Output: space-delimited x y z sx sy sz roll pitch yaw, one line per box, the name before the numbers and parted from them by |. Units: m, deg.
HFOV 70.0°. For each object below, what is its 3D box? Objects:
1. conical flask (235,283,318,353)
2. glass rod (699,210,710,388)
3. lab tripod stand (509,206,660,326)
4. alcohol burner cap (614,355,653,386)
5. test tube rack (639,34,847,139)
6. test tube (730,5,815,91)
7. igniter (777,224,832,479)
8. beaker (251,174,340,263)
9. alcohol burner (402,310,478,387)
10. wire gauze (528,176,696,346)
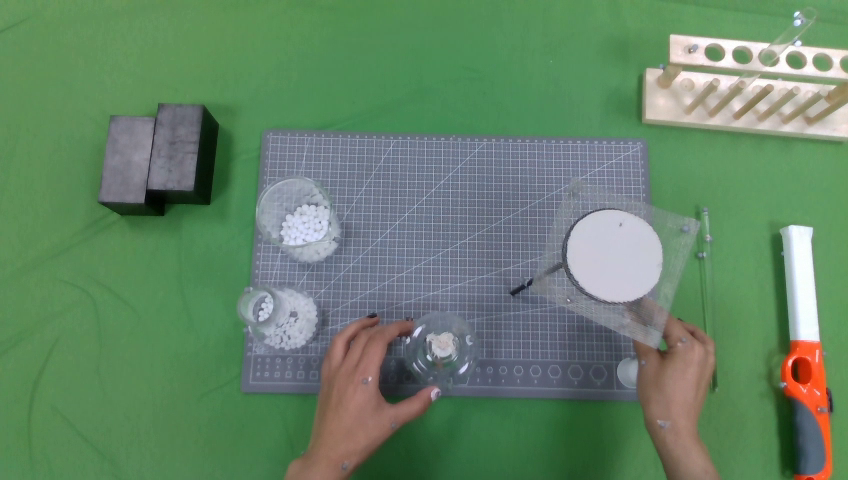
conical flask | -0.152 0.072 0.604 0.075 0.122 0.075 0 77 -1
glass rod | 0.312 0.063 0.673 0.008 0.008 0.199 3 80 0
lab tripod stand | 0.166 0.029 0.612 0.148 0.132 0.147 0 79 0
alcohol burner cap | 0.223 0.136 0.636 0.034 0.048 0.033 1 77 -2
test tube rack | 0.379 -0.171 0.687 0.242 0.085 0.066 5 77 1
test tube | 0.364 -0.198 0.642 0.017 0.151 0.017 0 77 2
igniter | 0.407 0.118 0.653 0.057 0.025 0.275 6 77 -10
beaker | -0.127 -0.016 0.635 0.084 0.100 0.074 37 80 7
alcohol burner | 0.016 0.107 0.603 0.078 0.119 0.077 0 77 2
wire gauze | 0.170 0.015 0.546 0.125 0.011 0.121 23 79 5
